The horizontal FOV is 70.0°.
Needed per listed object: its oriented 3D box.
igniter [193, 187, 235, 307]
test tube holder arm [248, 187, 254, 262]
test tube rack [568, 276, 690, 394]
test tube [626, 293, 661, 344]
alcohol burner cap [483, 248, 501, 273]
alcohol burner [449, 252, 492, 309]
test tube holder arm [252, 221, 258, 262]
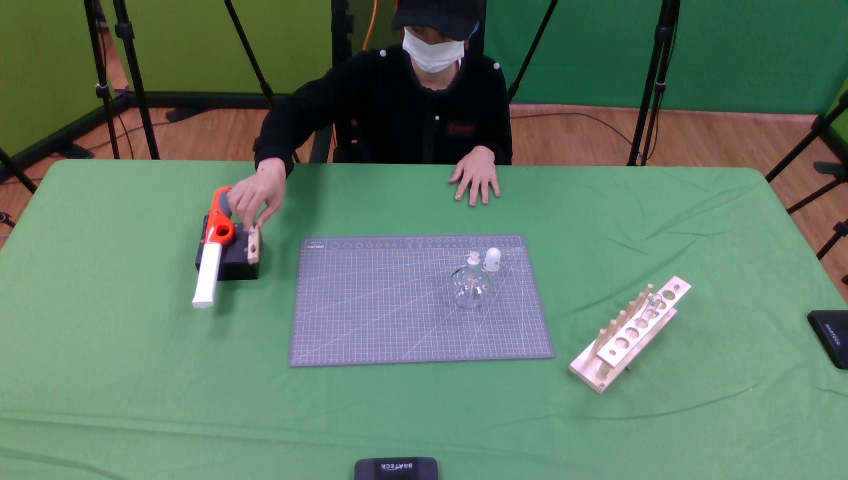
[{"bbox_3d":[-0.379,0.003,1.096,0.057,0.025,0.274,-1,49,-6],"label":"igniter"},{"bbox_3d":[-0.310,-0.031,1.089,0.013,0.015,0.177,-3,48,-15],"label":"test tube holder arm"},{"bbox_3d":[0.353,0.149,1.039,0.242,0.085,0.066,-34,56,-31],"label":"test tube rack"},{"bbox_3d":[0.355,0.133,0.984,0.017,0.151,0.017,1,52,0],"label":"test tube"},{"bbox_3d":[0.130,0.037,1.156,0.034,0.048,0.033,1,46,-1],"label":"alcohol burner cap"},{"bbox_3d":[0.083,0.066,1.074,0.078,0.120,0.077,1,44,-1],"label":"alcohol burner"},{"bbox_3d":[-0.296,0.002,1.061,0.010,0.015,0.087,-2,48,-14],"label":"test tube holder arm"}]
